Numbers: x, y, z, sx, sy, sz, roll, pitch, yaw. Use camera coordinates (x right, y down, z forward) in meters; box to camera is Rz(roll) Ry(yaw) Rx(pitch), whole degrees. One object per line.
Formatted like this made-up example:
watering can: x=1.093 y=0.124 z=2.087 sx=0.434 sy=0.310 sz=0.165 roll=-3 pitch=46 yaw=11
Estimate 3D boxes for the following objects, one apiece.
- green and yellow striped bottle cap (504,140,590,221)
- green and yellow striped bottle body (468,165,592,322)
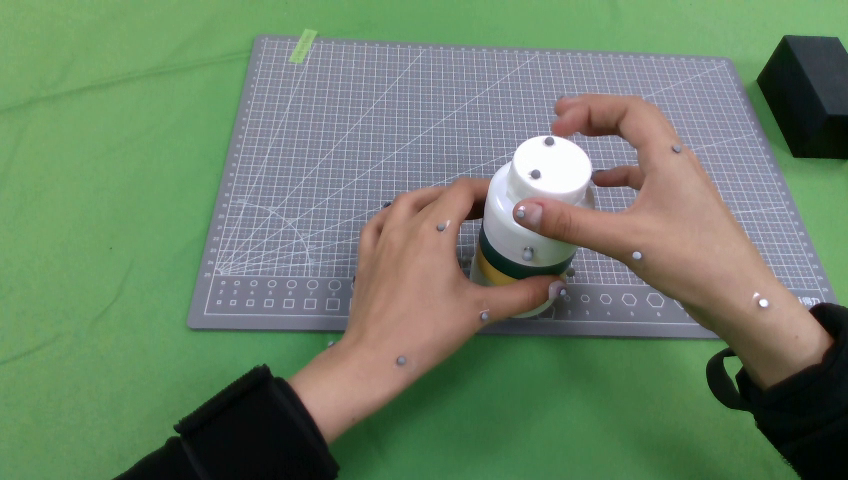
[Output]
green and yellow striped bottle cap: x=0.068 y=-0.034 z=0.334 sx=0.045 sy=0.020 sz=0.045 roll=3 pitch=55 yaw=-4
green and yellow striped bottle body: x=0.065 y=-0.003 z=0.378 sx=0.063 sy=0.120 sz=0.062 roll=2 pitch=55 yaw=-2
